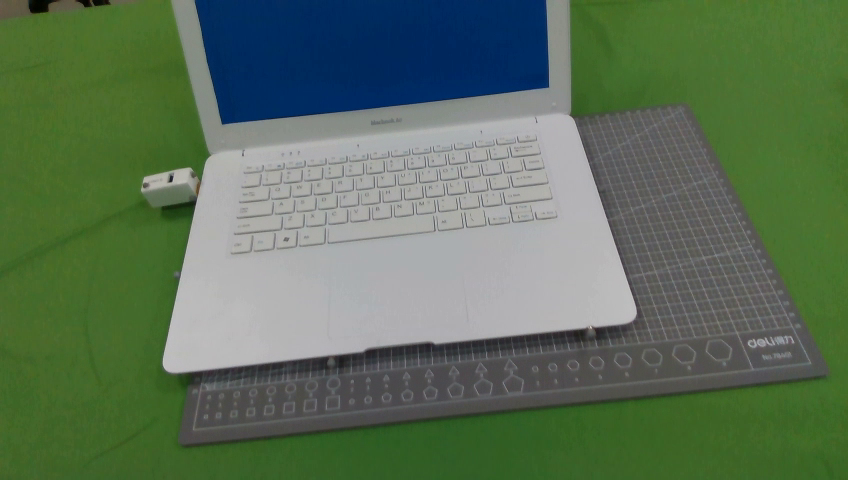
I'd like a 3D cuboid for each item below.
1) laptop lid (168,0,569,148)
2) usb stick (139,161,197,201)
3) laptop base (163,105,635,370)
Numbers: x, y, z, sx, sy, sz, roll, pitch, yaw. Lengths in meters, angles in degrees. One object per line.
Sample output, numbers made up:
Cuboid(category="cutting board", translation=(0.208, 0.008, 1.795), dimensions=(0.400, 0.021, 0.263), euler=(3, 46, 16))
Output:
Cuboid(category="laptop lid", translation=(-0.049, -0.211, 0.542), dimensions=(0.357, 0.243, 0.013), euler=(-8, 22, 2))
Cuboid(category="usb stick", translation=(-0.225, -0.055, 0.554), dimensions=(0.059, 0.027, 0.021), euler=(-9, 51, 1))
Cuboid(category="laptop base", translation=(-0.027, -0.013, 0.515), dimensions=(0.354, 0.023, 0.233), euler=(-7, 55, 1))
